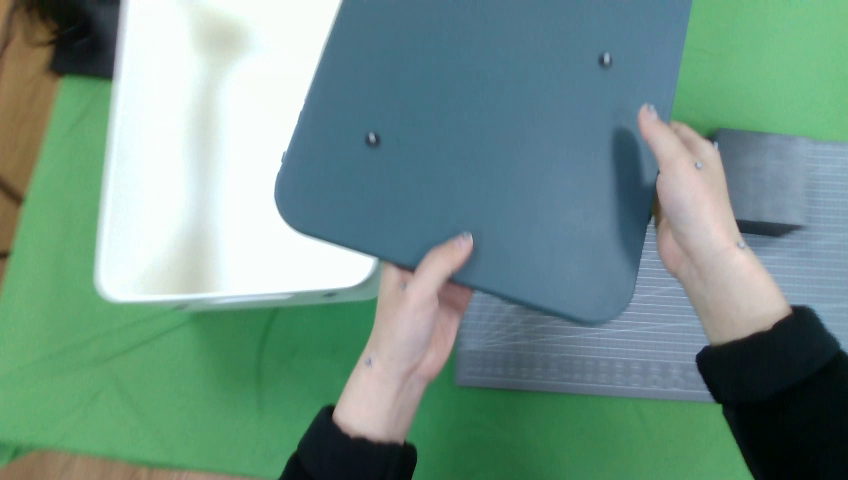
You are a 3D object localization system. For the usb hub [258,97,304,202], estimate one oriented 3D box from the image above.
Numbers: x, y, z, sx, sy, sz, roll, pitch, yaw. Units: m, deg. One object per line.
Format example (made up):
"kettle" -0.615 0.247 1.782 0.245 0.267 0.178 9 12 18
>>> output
"usb hub" -0.162 -0.106 0.709 0.049 0.025 0.124 2 78 5

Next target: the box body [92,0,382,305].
"box body" -0.179 -0.114 0.650 0.254 0.161 0.362 -4 78 2

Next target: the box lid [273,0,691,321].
"box lid" 0.064 -0.141 0.463 0.263 0.015 0.370 18 74 -3
